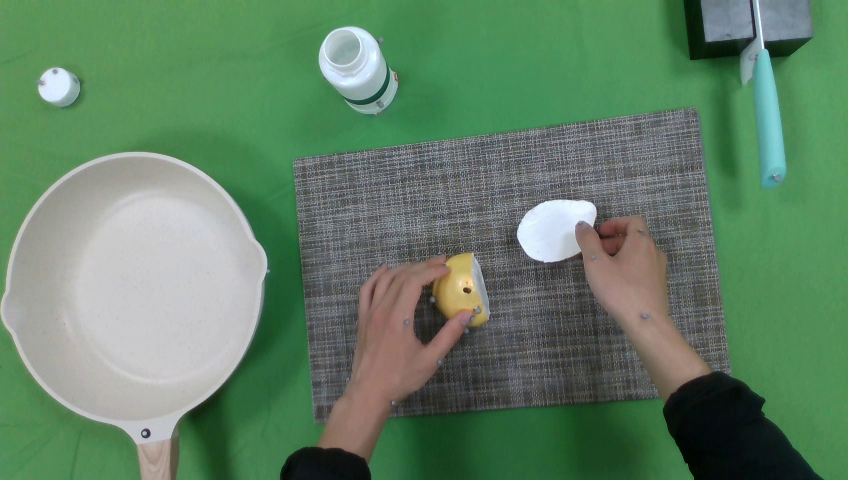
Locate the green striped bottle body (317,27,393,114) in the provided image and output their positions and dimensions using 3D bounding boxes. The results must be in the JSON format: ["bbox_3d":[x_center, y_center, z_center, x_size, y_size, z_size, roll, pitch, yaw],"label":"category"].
[{"bbox_3d":[-0.072,-0.179,0.638,0.063,0.119,0.063,0,86,7],"label":"green striped bottle body"}]

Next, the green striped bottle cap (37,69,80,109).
[{"bbox_3d":[-0.441,-0.182,0.731,0.044,0.020,0.044,-1,86,7],"label":"green striped bottle cap"}]

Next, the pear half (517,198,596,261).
[{"bbox_3d":[0.142,-0.010,0.644,0.088,0.031,0.070,-30,69,-6],"label":"pear half"}]

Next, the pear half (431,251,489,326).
[{"bbox_3d":[0.034,0.052,0.614,0.056,0.110,0.076,-19,82,6],"label":"pear half"}]

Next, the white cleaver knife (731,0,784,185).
[{"bbox_3d":[0.334,-0.197,0.618,0.021,0.066,0.285,-4,84,12],"label":"white cleaver knife"}]

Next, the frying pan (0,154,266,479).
[{"bbox_3d":[-0.294,0.153,0.654,0.306,0.103,0.485,-11,77,7],"label":"frying pan"}]
